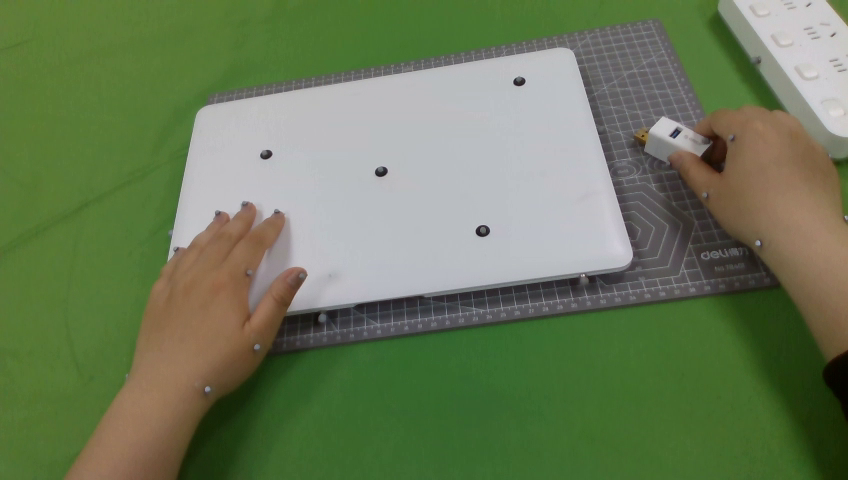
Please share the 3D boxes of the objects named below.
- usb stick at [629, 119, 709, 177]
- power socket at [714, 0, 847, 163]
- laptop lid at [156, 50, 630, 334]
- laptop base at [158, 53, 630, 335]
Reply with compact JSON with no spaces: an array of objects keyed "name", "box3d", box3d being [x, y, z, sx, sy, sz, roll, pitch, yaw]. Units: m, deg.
[{"name":"usb stick","box3d":[0.190,-0.075,0.477,0.058,0.027,0.021,34,66,32]},{"name":"power socket","box3d":[0.318,-0.152,0.507,0.072,0.033,0.224,-10,54,2]},{"name":"laptop lid","box3d":[-0.035,-0.051,0.495,0.356,0.013,0.239,-7,57,6]},{"name":"laptop base","box3d":[-0.034,-0.046,0.506,0.354,0.023,0.233,-8,58,4]}]
